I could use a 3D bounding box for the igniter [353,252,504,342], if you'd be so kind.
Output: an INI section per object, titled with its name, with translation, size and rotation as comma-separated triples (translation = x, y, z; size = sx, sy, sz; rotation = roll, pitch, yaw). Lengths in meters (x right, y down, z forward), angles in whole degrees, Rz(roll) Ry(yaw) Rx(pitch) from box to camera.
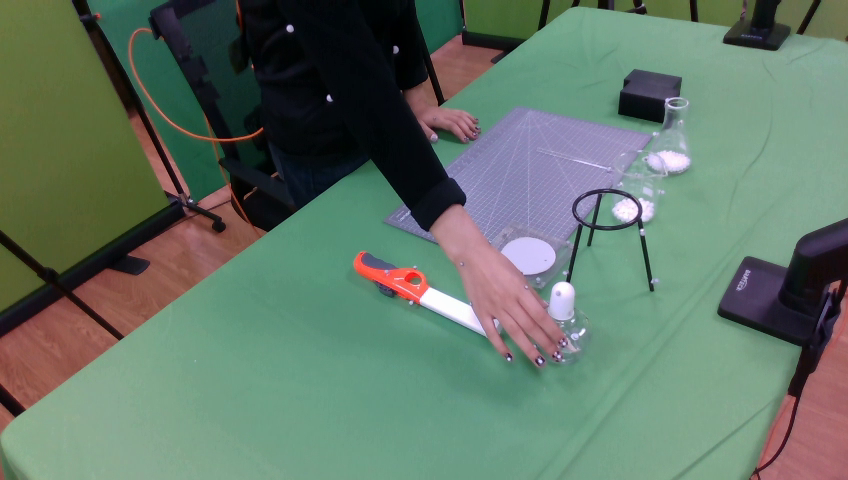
[igniter]
translation = -0.005, 0.078, 0.889
size = 0.274, 0.025, 0.057
rotation = 23, 59, 33

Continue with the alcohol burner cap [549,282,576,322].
[alcohol burner cap]
translation = 0.171, 0.073, 0.737
size = 0.034, 0.048, 0.033
rotation = -2, 38, 2

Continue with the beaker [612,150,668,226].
[beaker]
translation = 0.337, -0.079, 0.953
size = 0.083, 0.101, 0.074
rotation = 25, 51, 33

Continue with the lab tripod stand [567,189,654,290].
[lab tripod stand]
translation = 0.251, 0.003, 0.845
size = 0.148, 0.132, 0.147
rotation = -7, 39, 6

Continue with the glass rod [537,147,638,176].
[glass rod]
translation = 0.294, -0.145, 1.104
size = 0.198, 0.008, 0.008
rotation = 22, 50, 31

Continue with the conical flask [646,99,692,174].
[conical flask]
translation = 0.426, -0.180, 1.037
size = 0.075, 0.122, 0.075
rotation = -5, 40, 5

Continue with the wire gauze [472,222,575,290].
[wire gauze]
translation = 0.158, 0.024, 0.933
size = 0.120, 0.011, 0.125
rotation = 21, 49, 31

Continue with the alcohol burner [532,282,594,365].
[alcohol burner]
translation = 0.174, 0.100, 0.761
size = 0.078, 0.119, 0.077
rotation = -6, 38, 5
